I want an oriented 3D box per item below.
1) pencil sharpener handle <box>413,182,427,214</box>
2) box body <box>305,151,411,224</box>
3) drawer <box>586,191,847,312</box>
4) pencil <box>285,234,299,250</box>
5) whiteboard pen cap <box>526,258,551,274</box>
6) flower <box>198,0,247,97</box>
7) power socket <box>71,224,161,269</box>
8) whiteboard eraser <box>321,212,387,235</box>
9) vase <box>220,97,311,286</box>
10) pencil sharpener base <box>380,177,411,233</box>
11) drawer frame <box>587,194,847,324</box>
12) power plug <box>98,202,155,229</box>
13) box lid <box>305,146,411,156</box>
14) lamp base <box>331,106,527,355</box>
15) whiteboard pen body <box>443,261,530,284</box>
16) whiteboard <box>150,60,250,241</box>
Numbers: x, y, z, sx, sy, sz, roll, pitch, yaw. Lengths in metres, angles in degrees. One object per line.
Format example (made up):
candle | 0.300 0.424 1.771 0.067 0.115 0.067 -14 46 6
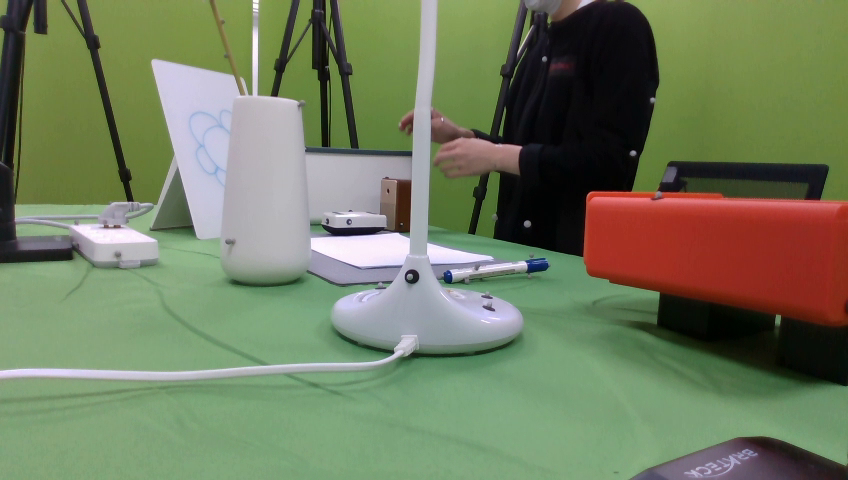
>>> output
pencil sharpener handle | -0.003 -0.086 1.255 0.031 0.067 0.036 -3 24 -37
box body | -0.230 -0.126 1.370 0.366 0.160 0.253 -2 8 -33
drawer | 0.281 0.001 0.513 0.195 0.073 0.210 -1 8 -29
pencil | -0.209 0.000 0.969 0.012 0.012 0.193 1 6 -8
whiteboard pen cap | 0.141 0.033 0.759 0.033 0.018 0.018 -8 11 -26
flower | -0.187 -0.133 0.648 0.038 0.362 0.044 -1 22 43
power socket | -0.408 0.004 0.793 0.072 0.032 0.225 -2 8 -38
whiteboard eraser | -0.128 -0.031 1.108 0.113 0.042 0.055 -3 7 -38
vase | -0.172 -0.052 0.662 0.098 0.200 0.098 3 8 0
pencil sharpener base | -0.042 -0.071 1.222 0.077 0.107 0.061 -3 9 -37
drawer frame | 0.285 0.004 0.508 0.203 0.082 0.212 -1 6 -29
power plug | -0.416 -0.027 0.848 0.073 0.052 0.035 0 8 -28
box lid | -0.229 -0.200 1.360 0.373 0.015 0.262 -3 9 -33
lamp base | 0.006 -0.012 0.478 0.161 0.180 0.179 2 10 2
whiteboard pen body | 0.087 0.037 0.734 0.141 0.017 0.017 -6 10 -27
whiteboard | -0.408 -0.139 1.093 0.143 0.305 0.218 -15 -1 26
